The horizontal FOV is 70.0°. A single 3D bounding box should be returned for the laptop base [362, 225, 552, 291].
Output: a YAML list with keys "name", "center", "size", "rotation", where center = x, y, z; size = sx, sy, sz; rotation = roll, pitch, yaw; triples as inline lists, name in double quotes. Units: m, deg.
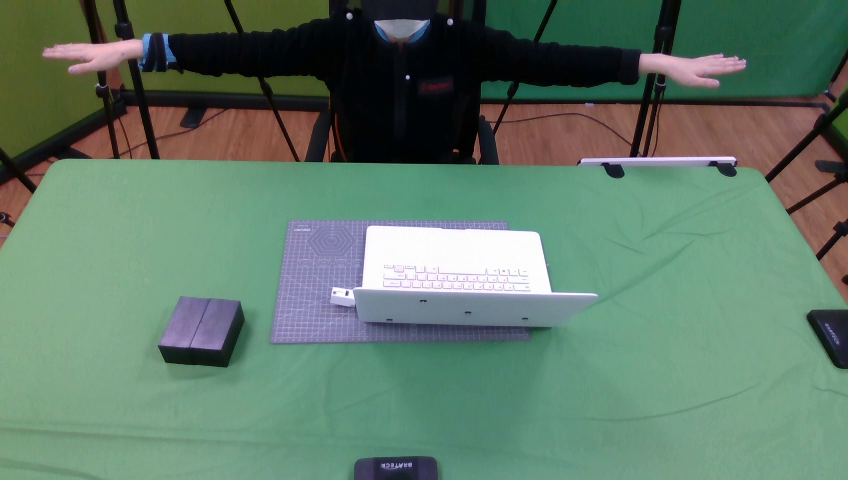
- name: "laptop base"
  center: [0.061, 0.063, 1.145]
  size: [0.354, 0.023, 0.234]
  rotation: [2, 43, -3]

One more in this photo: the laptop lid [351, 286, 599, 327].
- name: "laptop lid"
  center: [0.068, 0.109, 0.952]
  size: [0.357, 0.242, 0.013]
  rotation: [2, 71, -4]

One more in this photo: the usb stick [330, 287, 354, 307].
- name: "usb stick"
  center: [-0.135, 0.101, 1.068]
  size: [0.059, 0.027, 0.021]
  rotation: [13, 43, -9]
